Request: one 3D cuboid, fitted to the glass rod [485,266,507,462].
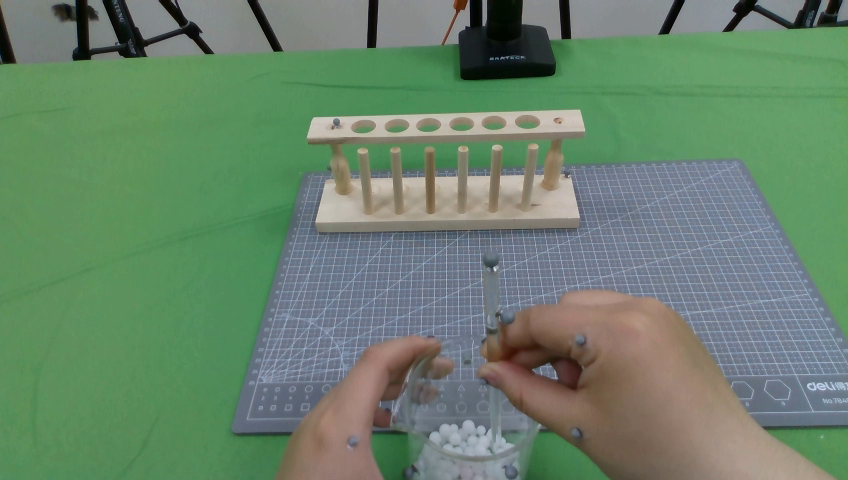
[{"bbox_3d":[0.039,0.076,0.310,0.008,0.202,0.008,-4,50,5],"label":"glass rod"}]

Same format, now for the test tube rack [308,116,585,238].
[{"bbox_3d":[0.020,-0.057,0.555,0.242,0.086,0.066,-1,44,3],"label":"test tube rack"}]

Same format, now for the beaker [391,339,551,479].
[{"bbox_3d":[0.024,0.117,0.344,0.084,0.101,0.073,-14,45,-13],"label":"beaker"}]
